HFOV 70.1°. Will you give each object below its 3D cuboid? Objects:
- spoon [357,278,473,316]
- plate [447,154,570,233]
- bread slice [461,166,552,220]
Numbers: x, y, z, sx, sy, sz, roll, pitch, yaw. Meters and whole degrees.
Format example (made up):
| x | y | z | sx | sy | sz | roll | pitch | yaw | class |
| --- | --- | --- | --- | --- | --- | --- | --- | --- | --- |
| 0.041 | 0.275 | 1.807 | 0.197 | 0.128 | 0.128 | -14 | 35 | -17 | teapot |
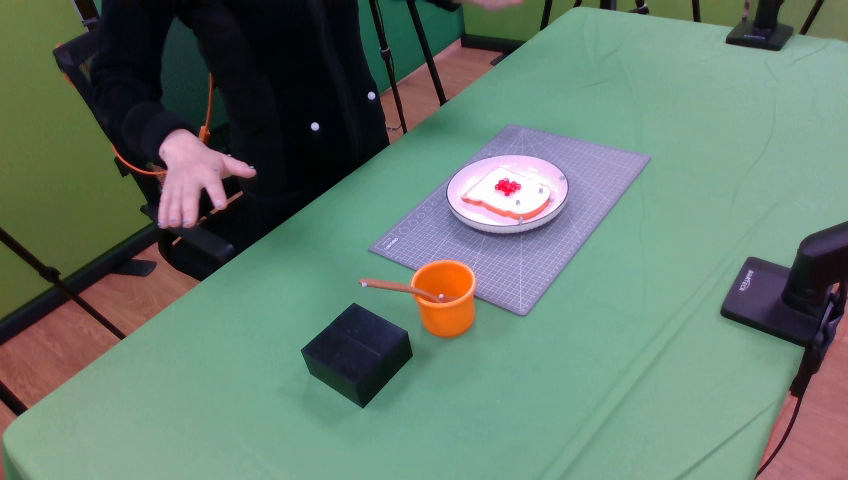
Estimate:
| x | y | z | sx | sy | sz | roll | pitch | yaw | class |
| --- | --- | --- | --- | --- | --- | --- | --- | --- | --- |
| -0.008 | 0.072 | 0.804 | 0.021 | 0.195 | 0.041 | -54 | 41 | 17 | spoon |
| 0.143 | -0.076 | 1.032 | 0.209 | 0.038 | 0.208 | -5 | 40 | 5 | plate |
| 0.149 | -0.079 | 1.036 | 0.133 | 0.018 | 0.107 | 22 | 50 | 32 | bread slice |
